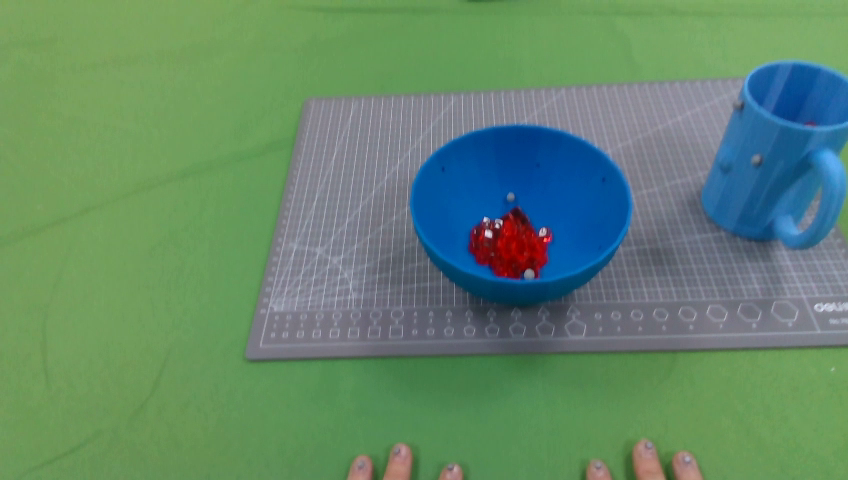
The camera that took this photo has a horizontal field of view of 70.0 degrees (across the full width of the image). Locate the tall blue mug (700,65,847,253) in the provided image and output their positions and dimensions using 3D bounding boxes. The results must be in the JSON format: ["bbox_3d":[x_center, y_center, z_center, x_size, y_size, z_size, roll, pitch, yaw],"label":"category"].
[{"bbox_3d":[0.267,-0.052,0.441,0.078,0.109,0.106,-27,53,-18],"label":"tall blue mug"}]

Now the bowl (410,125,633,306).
[{"bbox_3d":[0.067,-0.005,0.440,0.151,0.077,0.150,-2,50,3],"label":"bowl"}]
